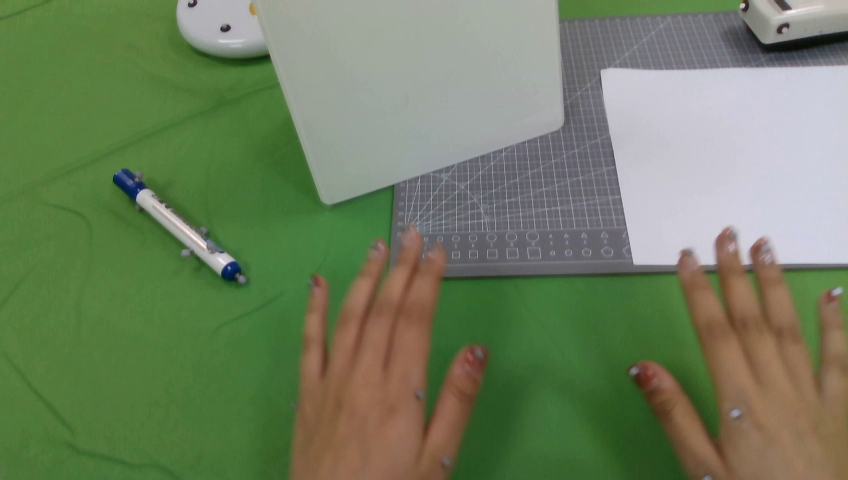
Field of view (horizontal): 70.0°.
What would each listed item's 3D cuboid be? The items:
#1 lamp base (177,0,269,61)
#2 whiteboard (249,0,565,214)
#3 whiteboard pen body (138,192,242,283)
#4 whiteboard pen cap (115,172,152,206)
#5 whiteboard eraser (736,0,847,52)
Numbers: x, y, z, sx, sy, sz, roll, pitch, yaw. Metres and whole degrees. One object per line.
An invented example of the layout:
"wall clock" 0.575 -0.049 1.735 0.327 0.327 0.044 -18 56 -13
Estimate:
"lamp base" -0.195 -0.295 0.584 0.177 0.182 0.160 34 64 28
"whiteboard" -0.028 -0.212 0.469 0.217 0.308 0.142 -19 36 -7
"whiteboard pen body" -0.193 -0.009 0.477 0.139 0.017 0.017 35 64 22
"whiteboard pen cap" -0.238 -0.041 0.499 0.033 0.018 0.018 36 65 20
"whiteboard eraser" 0.352 -0.203 0.553 0.113 0.042 0.055 -9 55 -2
